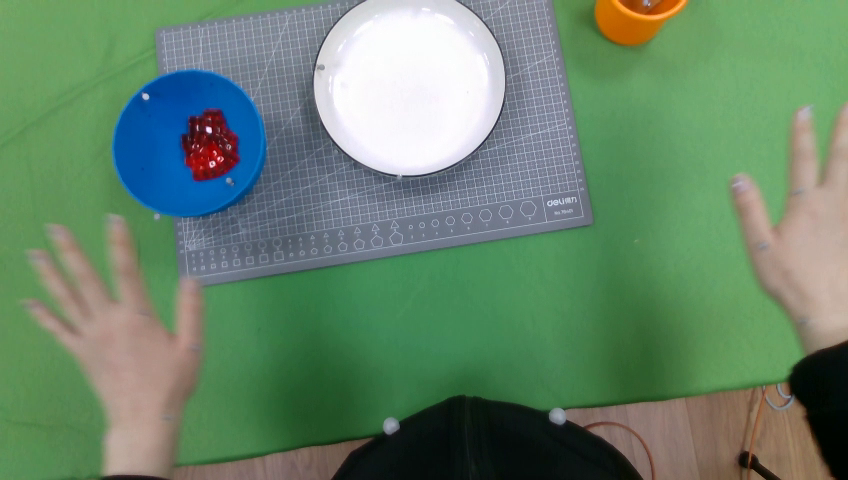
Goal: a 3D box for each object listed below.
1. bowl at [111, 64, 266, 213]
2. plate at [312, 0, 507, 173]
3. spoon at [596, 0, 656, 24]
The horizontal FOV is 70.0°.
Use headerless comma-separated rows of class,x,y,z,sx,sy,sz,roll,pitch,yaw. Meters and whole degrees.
bowl,-0.231,-0.096,0.631,0.151,0.077,0.151,0,83,1
plate,-0.015,-0.172,0.658,0.209,0.038,0.208,0,83,1
spoon,0.264,-0.260,0.611,0.022,0.192,0.041,9,83,-41
